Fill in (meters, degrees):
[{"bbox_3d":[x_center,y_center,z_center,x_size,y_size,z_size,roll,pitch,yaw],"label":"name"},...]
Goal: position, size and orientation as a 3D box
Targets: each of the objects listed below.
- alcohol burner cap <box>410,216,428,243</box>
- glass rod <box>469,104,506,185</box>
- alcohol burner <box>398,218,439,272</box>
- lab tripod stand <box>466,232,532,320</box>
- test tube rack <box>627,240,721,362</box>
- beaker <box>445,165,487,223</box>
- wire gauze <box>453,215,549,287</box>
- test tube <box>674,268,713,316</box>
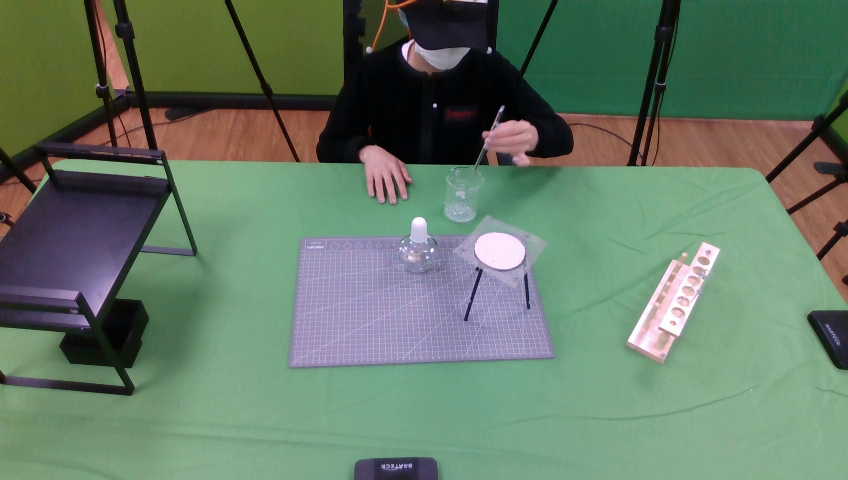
[{"bbox_3d":[-0.009,-0.022,1.099,0.034,0.048,0.033,2,41,-1],"label":"alcohol burner cap"},{"bbox_3d":[0.116,-0.171,1.121,0.008,0.200,0.008,9,49,-11],"label":"glass rod"},{"bbox_3d":[-0.010,0.004,1.123,0.078,0.120,0.077,1,47,0],"label":"alcohol burner"},{"bbox_3d":[0.125,0.059,1.065,0.148,0.132,0.147,1,45,0],"label":"lab tripod stand"},{"bbox_3d":[0.452,0.098,1.087,0.066,0.085,0.242,28,51,22],"label":"test tube rack"},{"bbox_3d":[0.082,-0.091,1.236,0.084,0.101,0.073,-7,47,-11],"label":"beaker"},{"bbox_3d":[0.129,0.012,1.017,0.124,0.011,0.121,28,50,23],"label":"wire gauze"},{"bbox_3d":[0.445,0.098,1.017,0.017,0.151,0.017,4,49,-4],"label":"test tube"}]
